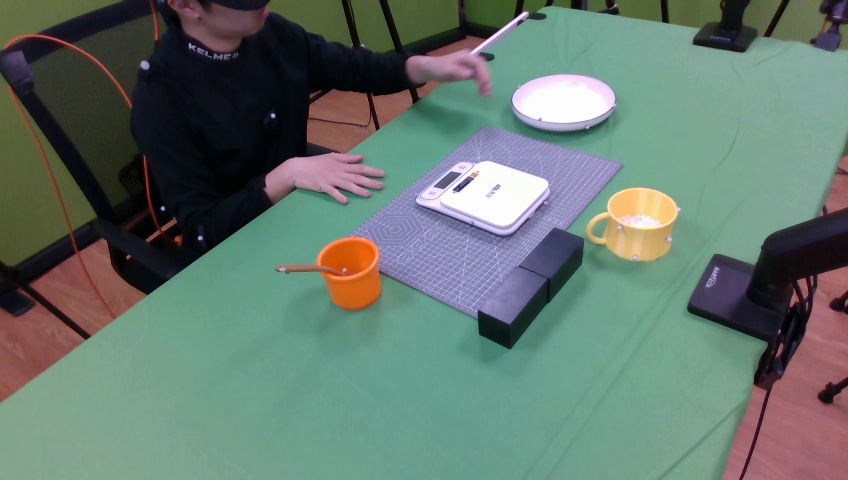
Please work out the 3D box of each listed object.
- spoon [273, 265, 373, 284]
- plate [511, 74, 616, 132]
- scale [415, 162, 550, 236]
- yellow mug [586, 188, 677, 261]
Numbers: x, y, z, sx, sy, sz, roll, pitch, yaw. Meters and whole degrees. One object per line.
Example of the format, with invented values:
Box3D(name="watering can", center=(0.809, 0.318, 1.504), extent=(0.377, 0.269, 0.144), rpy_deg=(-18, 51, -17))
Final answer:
Box3D(name="spoon", center=(-0.136, 0.045, 0.839), extent=(0.041, 0.195, 0.021), rpy_deg=(18, 91, 33))
Box3D(name="plate", center=(0.283, -0.276, 1.238), extent=(0.209, 0.038, 0.208), rpy_deg=(-4, 41, 4))
Box3D(name="scale", center=(0.099, -0.079, 1.035), extent=(0.199, 0.032, 0.149), rpy_deg=(23, 48, 31))
Box3D(name="yellow mug", center=(0.311, -0.022, 0.916), extent=(0.131, 0.064, 0.099), rpy_deg=(-8, 40, 0))
